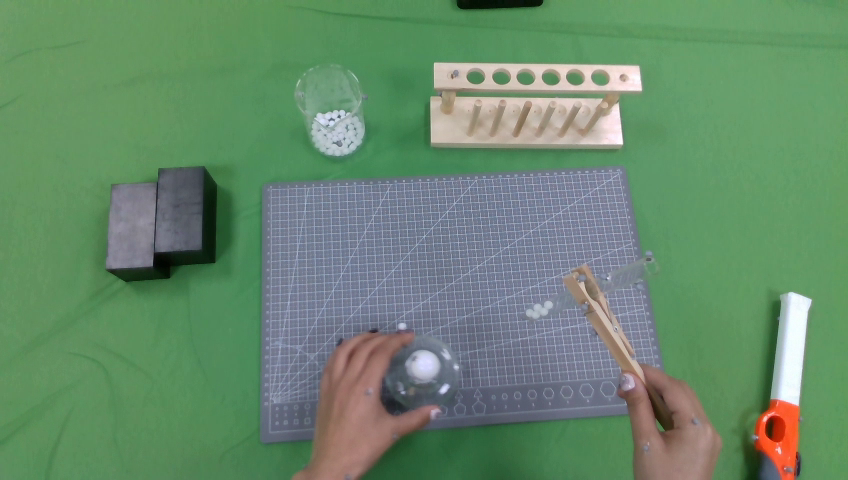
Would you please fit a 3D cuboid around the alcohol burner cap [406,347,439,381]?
[{"bbox_3d":[-0.001,0.120,0.587,0.034,0.048,0.033,1,77,-3],"label":"alcohol burner cap"}]

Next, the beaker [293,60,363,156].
[{"bbox_3d":[-0.109,-0.148,0.713,0.074,0.101,0.083,-1,73,-3],"label":"beaker"}]

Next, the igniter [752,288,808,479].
[{"bbox_3d":[0.396,0.186,0.674,0.057,0.025,0.275,20,73,-7],"label":"igniter"}]

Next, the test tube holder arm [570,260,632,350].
[{"bbox_3d":[0.151,0.058,0.517,0.010,0.015,0.088,-30,93,-37],"label":"test tube holder arm"}]

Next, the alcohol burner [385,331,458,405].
[{"bbox_3d":[-0.001,0.129,0.622,0.078,0.119,0.077,1,71,-4],"label":"alcohol burner"}]

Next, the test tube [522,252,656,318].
[{"bbox_3d":[0.134,0.042,0.517,0.017,0.150,0.017,13,63,-27],"label":"test tube"}]

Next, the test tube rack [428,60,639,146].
[{"bbox_3d":[0.128,-0.165,0.738,0.242,0.085,0.066,0,73,-3],"label":"test tube rack"}]

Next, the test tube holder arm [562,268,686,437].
[{"bbox_3d":[0.172,0.098,0.518,0.013,0.015,0.179,-39,98,-36],"label":"test tube holder arm"}]
